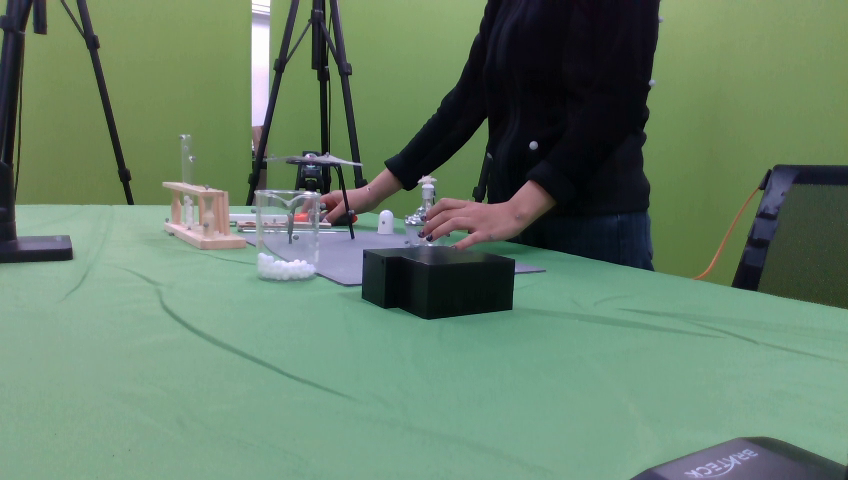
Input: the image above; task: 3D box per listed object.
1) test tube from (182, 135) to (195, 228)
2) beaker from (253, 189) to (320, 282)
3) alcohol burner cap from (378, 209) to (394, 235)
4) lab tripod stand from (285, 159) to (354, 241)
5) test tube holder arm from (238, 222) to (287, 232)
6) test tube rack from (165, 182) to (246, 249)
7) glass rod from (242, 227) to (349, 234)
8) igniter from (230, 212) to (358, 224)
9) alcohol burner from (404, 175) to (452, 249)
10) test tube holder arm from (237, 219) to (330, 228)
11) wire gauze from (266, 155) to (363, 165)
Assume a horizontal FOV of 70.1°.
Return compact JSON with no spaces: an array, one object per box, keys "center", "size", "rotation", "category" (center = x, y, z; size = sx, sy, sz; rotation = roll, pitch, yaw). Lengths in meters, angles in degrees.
[{"center":[-0.382,-0.095,0.983],"size":[0.017,0.150,0.017],"rotation":[-1,2,0],"category":"test tube"},{"center":[-0.156,-0.005,0.689],"size":[0.074,0.100,0.083],"rotation":[0,8,-14],"category":"beaker"},{"center":[-0.072,-0.035,1.145],"size":[0.034,0.048,0.034],"rotation":[2,7,0],"category":"alcohol burner cap"},{"center":[-0.187,-0.068,1.013],"size":[0.148,0.131,0.148],"rotation":[4,9,0],"category":"lab tripod stand"},{"center":[-0.297,-0.024,1.114],"size":[0.088,0.015,0.010],"rotation":[-3,48,-33],"category":"test tube holder arm"},{"center":[-0.360,-0.045,0.982],"size":[0.067,0.085,0.241],"rotation":[-3,9,-34],"category":"test tube rack"},{"center":[-0.232,-0.016,1.110],"size":[0.201,0.008,0.008],"rotation":[2,6,-30],"category":"glass rod"},{"center":[-0.269,-0.044,1.233],"size":[0.278,0.025,0.057],"rotation":[-2,0,-28],"category":"igniter"},{"center":[0.007,-0.045,0.970],"size":[0.078,0.119,0.078],"rotation":[1,9,0],"category":"alcohol burner"},{"center":[-0.262,-0.031,1.143],"size":[0.179,0.015,0.013],"rotation":[-5,49,-34],"category":"test tube holder arm"},{"center":[-0.185,-0.136,1.016],"size":[0.126,0.011,0.121],"rotation":[-4,11,-34],"category":"wire gauze"}]
